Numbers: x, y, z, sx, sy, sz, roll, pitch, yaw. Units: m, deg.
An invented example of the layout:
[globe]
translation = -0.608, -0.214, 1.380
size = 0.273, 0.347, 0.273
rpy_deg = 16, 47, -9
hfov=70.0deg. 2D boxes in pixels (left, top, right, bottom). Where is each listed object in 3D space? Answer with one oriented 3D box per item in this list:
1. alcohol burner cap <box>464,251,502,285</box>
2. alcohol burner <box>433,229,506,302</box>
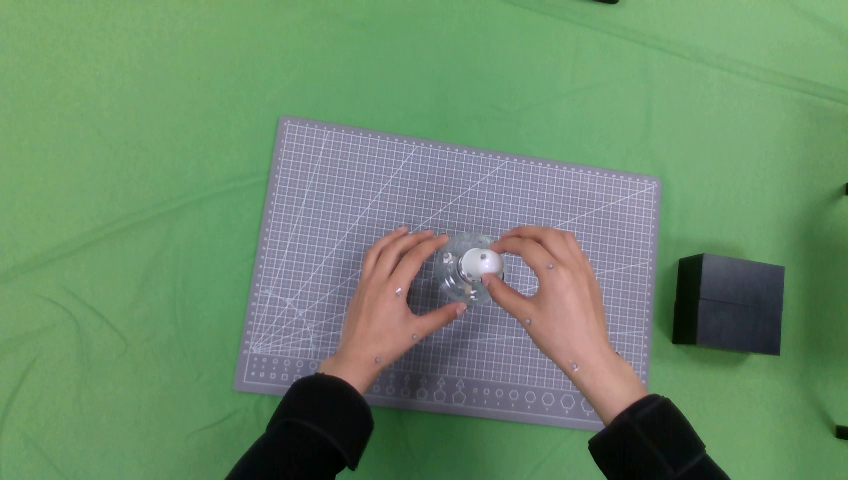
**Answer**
[alcohol burner cap]
translation = 0.058, 0.026, 0.581
size = 0.034, 0.048, 0.034
rpy_deg = 1, 84, -5
[alcohol burner]
translation = 0.051, 0.025, 0.621
size = 0.078, 0.119, 0.077
rpy_deg = 1, 83, -10
